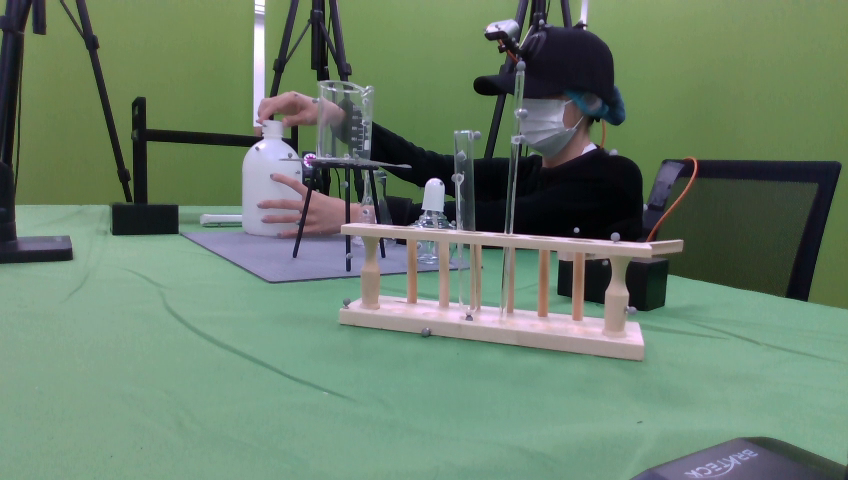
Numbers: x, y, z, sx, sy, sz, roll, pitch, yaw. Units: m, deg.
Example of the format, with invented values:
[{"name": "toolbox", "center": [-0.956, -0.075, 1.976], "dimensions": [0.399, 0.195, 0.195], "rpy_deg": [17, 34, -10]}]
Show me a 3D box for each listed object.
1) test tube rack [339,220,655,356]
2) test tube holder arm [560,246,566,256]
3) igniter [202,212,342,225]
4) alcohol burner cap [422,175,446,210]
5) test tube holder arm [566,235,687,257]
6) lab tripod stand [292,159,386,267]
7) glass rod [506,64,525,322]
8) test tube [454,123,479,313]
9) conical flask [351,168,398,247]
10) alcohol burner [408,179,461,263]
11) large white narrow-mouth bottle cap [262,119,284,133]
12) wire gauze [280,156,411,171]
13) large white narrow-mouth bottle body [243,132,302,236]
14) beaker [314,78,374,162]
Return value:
[{"name": "test tube rack", "center": [0.056, 0.032, 0.495], "dimensions": [0.242, 0.085, 0.067], "rpy_deg": [4, 7, 15]}, {"name": "test tube holder arm", "center": [0.173, 0.007, 0.611], "dimensions": [0.088, 0.015, 0.010], "rpy_deg": [-3, 9, -30]}, {"name": "igniter", "center": [-0.298, -0.043, 1.216], "dimensions": [0.278, 0.025, 0.057], "rpy_deg": [-3, -2, -32]}, {"name": "alcohol burner cap", "center": [0.016, -0.065, 0.830], "dimensions": [0.034, 0.048, 0.034], "rpy_deg": [7, 4, 0]}, {"name": "test tube holder arm", "center": [0.215, 0.006, 0.630], "dimensions": [0.179, 0.015, 0.013], "rpy_deg": [-3, 10, -30]}, {"name": "lab tripod stand", "center": [-0.105, -0.039, 0.797], "dimensions": [0.148, 0.131, 0.148], "rpy_deg": [2, 5, 0]}, {"name": "glass rod", "center": [0.069, -0.030, 0.458], "dimensions": [0.008, 0.199, 0.008], "rpy_deg": [0, 15, 0]}, {"name": "test tube", "center": [0.034, -0.016, 0.477], "dimensions": [0.017, 0.150, 0.017], "rpy_deg": [-2, 9, 1]}, {"name": "conical flask", "center": [-0.078, -0.053, 0.962], "dimensions": [0.075, 0.122, 0.075], "rpy_deg": [2, 7, 0]}, {"name": "alcohol burner", "center": [0.013, -0.029, 0.834], "dimensions": [0.078, 0.119, 0.078], "rpy_deg": [0, 6, 0]}, {"name": "large white narrow-mouth bottle cap", "center": [-0.262, -0.197, 1.048], "dimensions": [0.038, 0.024, 0.037], "rpy_deg": [2, 8, 0]}, {"name": "wire gauze", "center": [-0.103, -0.103, 0.785], "dimensions": [0.121, 0.011, 0.126], "rpy_deg": [11, 8, 42]}, {"name": "large white narrow-mouth bottle body", "center": [-0.265, -0.109, 1.061], "dimensions": [0.102, 0.194, 0.102], "rpy_deg": [2, 8, 0]}, {"name": "beaker", "center": [-0.101, -0.151, 0.775], "dimensions": [0.074, 0.100, 0.083], "rpy_deg": [-2, 8, -39]}]
